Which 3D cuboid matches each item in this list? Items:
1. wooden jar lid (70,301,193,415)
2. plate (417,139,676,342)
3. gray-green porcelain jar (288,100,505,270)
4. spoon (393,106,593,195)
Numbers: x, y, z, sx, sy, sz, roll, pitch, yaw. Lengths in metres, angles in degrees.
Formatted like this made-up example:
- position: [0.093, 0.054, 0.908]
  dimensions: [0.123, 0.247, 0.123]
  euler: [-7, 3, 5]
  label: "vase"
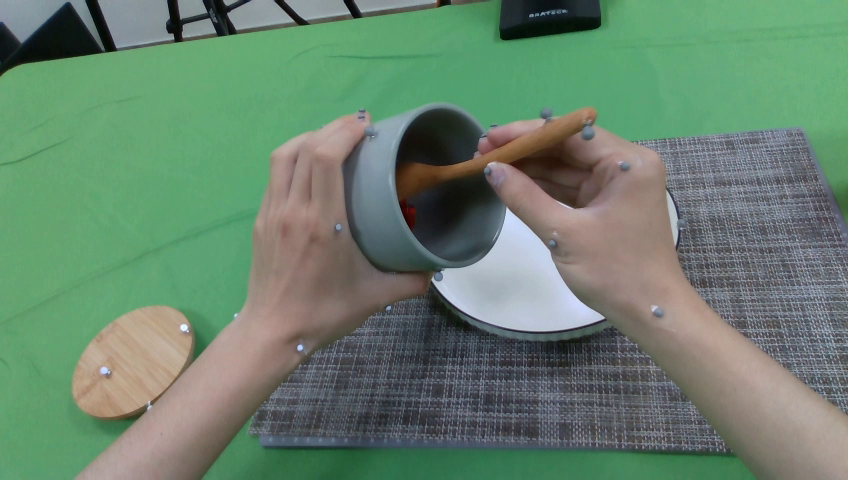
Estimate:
- position: [-0.249, 0.102, 0.523]
  dimensions: [0.108, 0.021, 0.107]
  euler: [-6, 50, 8]
  label: "wooden jar lid"
- position: [0.096, -0.002, 0.501]
  dimensions: [0.207, 0.039, 0.205]
  euler: [-7, 49, 9]
  label: "plate"
- position: [-0.025, -0.032, 0.423]
  dimensions: [0.126, 0.107, 0.105]
  euler: [-4, 44, 46]
  label: "gray-green porcelain jar"
- position: [0.022, -0.049, 0.363]
  dimensions: [0.193, 0.022, 0.041]
  euler: [-9, 51, 49]
  label: "spoon"
